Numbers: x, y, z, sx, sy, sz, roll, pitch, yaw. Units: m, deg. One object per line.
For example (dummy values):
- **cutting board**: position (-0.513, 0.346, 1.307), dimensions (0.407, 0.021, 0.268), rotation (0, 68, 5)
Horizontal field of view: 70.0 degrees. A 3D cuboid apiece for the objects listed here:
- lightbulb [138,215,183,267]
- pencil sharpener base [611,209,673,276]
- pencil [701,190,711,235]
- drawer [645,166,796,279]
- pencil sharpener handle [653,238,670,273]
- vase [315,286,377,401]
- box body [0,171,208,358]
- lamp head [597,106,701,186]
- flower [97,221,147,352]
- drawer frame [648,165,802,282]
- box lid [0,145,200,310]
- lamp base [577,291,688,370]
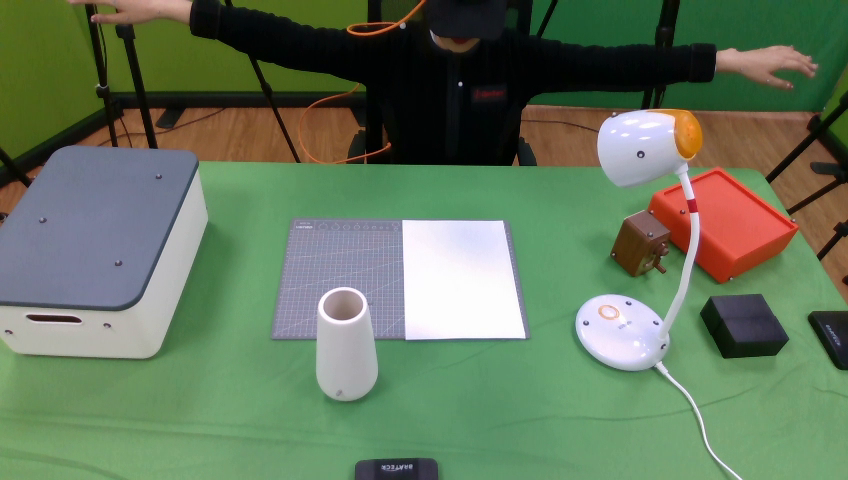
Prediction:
- **lightbulb**: position (-0.496, 0.003, 1.131), dimensions (0.059, 0.060, 0.107), rotation (18, 63, 13)
- **pencil sharpener base**: position (0.416, 0.007, 1.158), dimensions (0.061, 0.107, 0.076), rotation (-21, 51, -22)
- **pencil**: position (0.585, -0.059, 1.256), dimensions (0.012, 0.012, 0.193), rotation (16, 34, 11)
- **drawer**: position (0.600, -0.041, 1.236), dimensions (0.195, 0.073, 0.210), rotation (-21, 51, -23)
- **pencil sharpener handle**: position (0.444, 0.030, 1.120), dimensions (0.036, 0.068, 0.030), rotation (-25, 52, -18)
- **vase**: position (-0.119, 0.159, 0.911), dimensions (0.098, 0.201, 0.097), rotation (2, 47, -2)
- **box body**: position (-0.546, 0.017, 1.045), dimensions (0.254, 0.161, 0.361), rotation (2, 46, -2)
- **lamp head**: position (0.328, -0.138, 0.865), dimensions (0.112, 0.113, 0.122), rotation (-36, 20, -32)
- **flower**: position (-0.557, 0.069, 1.089), dimensions (0.044, 0.038, 0.359), rotation (-24, 47, -19)
- **drawer frame**: position (0.603, -0.040, 1.233), dimensions (0.202, 0.083, 0.212), rotation (-21, 51, -23)
- **box lid**: position (-0.541, -0.037, 0.993), dimensions (0.263, 0.015, 0.369), rotation (3, 45, -2)
- **lamp base**: position (0.361, 0.110, 1.003), dimensions (0.160, 0.181, 0.178), rotation (-30, 57, -29)
